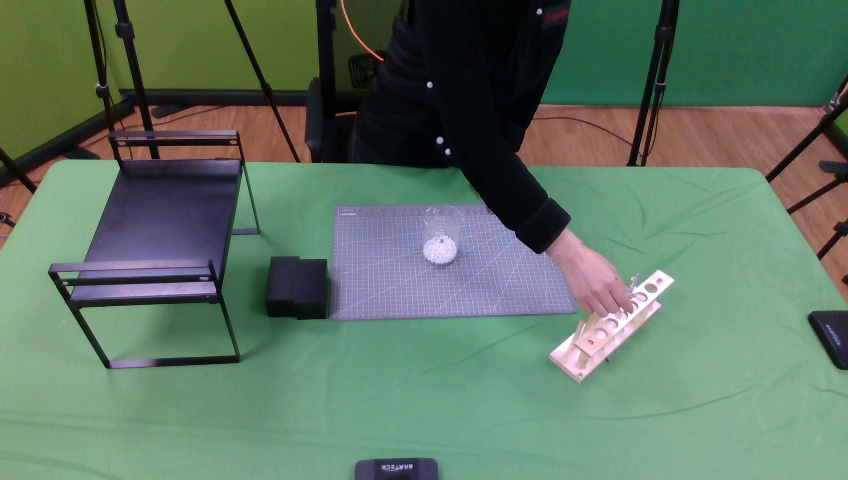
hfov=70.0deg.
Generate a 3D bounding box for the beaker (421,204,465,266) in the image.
[{"bbox_3d":[0.034,-0.007,1.150,0.084,0.101,0.073,-10,48,-13],"label":"beaker"}]

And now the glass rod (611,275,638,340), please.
[{"bbox_3d":[0.320,0.113,0.977,0.008,0.201,0.008,-2,53,3],"label":"glass rod"}]

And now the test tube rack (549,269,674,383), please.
[{"bbox_3d":[0.326,0.135,1.047,0.242,0.085,0.066,-32,55,-30],"label":"test tube rack"}]
